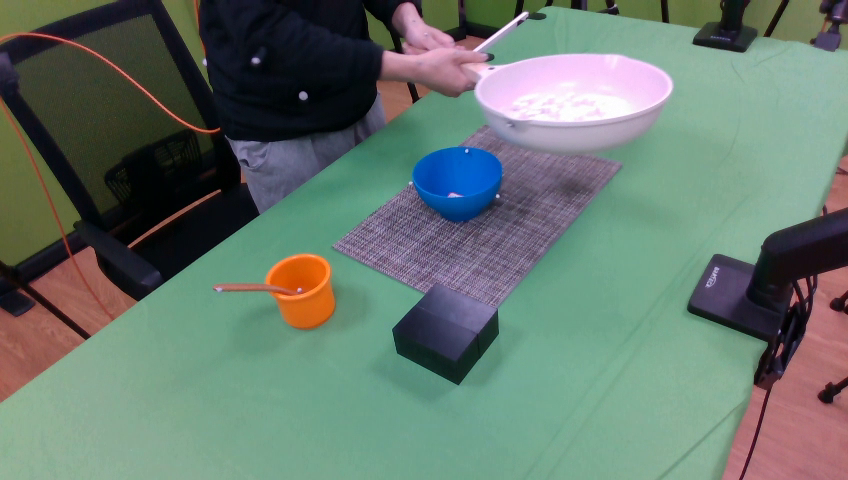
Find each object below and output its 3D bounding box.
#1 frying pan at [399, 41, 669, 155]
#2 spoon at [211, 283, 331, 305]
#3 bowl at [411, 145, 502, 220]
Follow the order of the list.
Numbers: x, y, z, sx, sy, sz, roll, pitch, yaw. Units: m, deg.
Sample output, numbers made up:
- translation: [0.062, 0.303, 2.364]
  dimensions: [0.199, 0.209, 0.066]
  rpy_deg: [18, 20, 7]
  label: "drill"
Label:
- translation: [0.145, -0.257, 0.990]
  dimensions: [0.484, 0.103, 0.308]
  rpy_deg: [30, 46, 30]
  label: "frying pan"
- translation: [-0.201, 0.069, 0.819]
  dimensions: [0.041, 0.195, 0.021]
  rpy_deg: [33, 99, 37]
  label: "spoon"
- translation: [0.057, -0.086, 1.010]
  dimensions: [0.151, 0.077, 0.150]
  rpy_deg: [-4, 41, 4]
  label: "bowl"
